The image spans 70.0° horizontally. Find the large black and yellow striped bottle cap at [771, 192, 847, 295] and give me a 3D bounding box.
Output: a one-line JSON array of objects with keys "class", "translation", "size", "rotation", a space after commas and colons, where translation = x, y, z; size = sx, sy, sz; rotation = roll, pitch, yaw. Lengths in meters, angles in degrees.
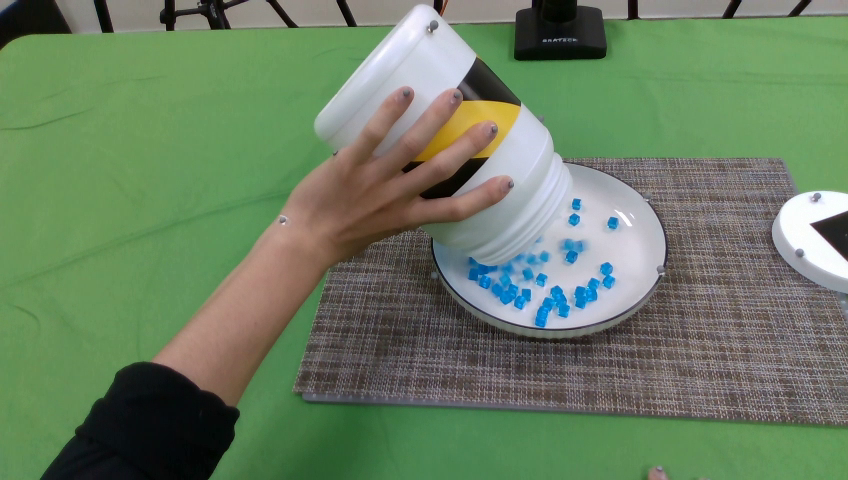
[{"class": "large black and yellow striped bottle cap", "translation": [0.376, 0.001, 0.544], "size": [0.115, 0.019, 0.114], "rotation": [-1, 49, 1]}]

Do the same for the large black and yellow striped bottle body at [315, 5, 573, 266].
[{"class": "large black and yellow striped bottle body", "translation": [0.020, -0.076, 0.490], "size": [0.131, 0.185, 0.130], "rotation": [-43, 18, 18]}]

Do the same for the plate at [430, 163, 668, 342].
[{"class": "plate", "translation": [0.110, 0.009, 0.551], "size": [0.207, 0.039, 0.205], "rotation": [-3, 47, 4]}]
